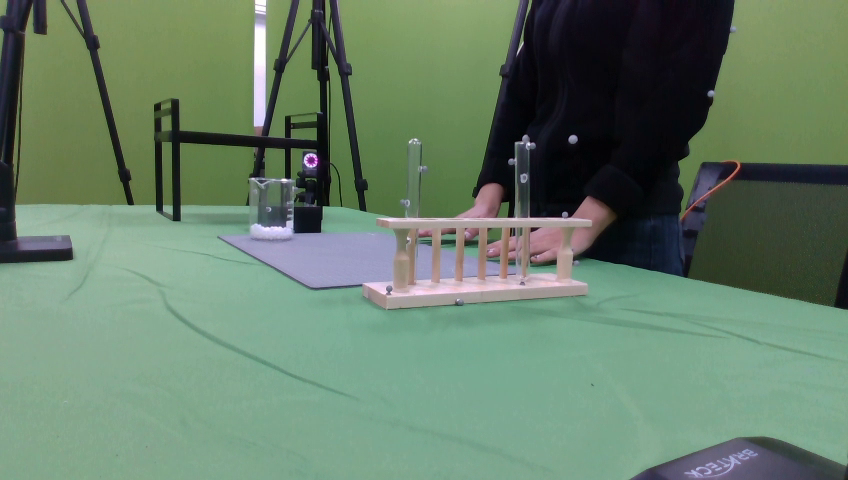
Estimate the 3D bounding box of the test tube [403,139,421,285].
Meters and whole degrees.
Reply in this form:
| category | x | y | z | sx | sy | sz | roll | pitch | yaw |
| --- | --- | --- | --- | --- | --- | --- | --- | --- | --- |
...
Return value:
| category | x | y | z | sx | sy | sz | roll | pitch | yaw |
| --- | --- | --- | --- | --- | --- | --- | --- | --- | --- |
| test tube | -0.013 | -0.027 | 0.618 | 0.017 | 0.150 | 0.017 | 2 | 7 | 0 |

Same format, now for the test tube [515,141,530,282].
| category | x | y | z | sx | sy | sz | roll | pitch | yaw |
| --- | --- | --- | --- | --- | --- | --- | --- | --- | --- |
| test tube | 0.104 | -0.028 | 0.636 | 0.017 | 0.150 | 0.017 | -2 | 12 | 1 |

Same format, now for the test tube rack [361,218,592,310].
| category | x | y | z | sx | sy | sz | roll | pitch | yaw |
| --- | --- | --- | --- | --- | --- | --- | --- | --- | --- |
| test tube rack | 0.060 | 0.018 | 0.641 | 0.243 | 0.085 | 0.066 | -1 | 8 | -27 |

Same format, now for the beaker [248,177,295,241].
| category | x | y | z | sx | sy | sz | roll | pitch | yaw |
| --- | --- | --- | --- | --- | --- | --- | --- | --- | --- |
| beaker | -0.252 | -0.051 | 0.992 | 0.074 | 0.100 | 0.084 | 3 | 9 | 6 |
